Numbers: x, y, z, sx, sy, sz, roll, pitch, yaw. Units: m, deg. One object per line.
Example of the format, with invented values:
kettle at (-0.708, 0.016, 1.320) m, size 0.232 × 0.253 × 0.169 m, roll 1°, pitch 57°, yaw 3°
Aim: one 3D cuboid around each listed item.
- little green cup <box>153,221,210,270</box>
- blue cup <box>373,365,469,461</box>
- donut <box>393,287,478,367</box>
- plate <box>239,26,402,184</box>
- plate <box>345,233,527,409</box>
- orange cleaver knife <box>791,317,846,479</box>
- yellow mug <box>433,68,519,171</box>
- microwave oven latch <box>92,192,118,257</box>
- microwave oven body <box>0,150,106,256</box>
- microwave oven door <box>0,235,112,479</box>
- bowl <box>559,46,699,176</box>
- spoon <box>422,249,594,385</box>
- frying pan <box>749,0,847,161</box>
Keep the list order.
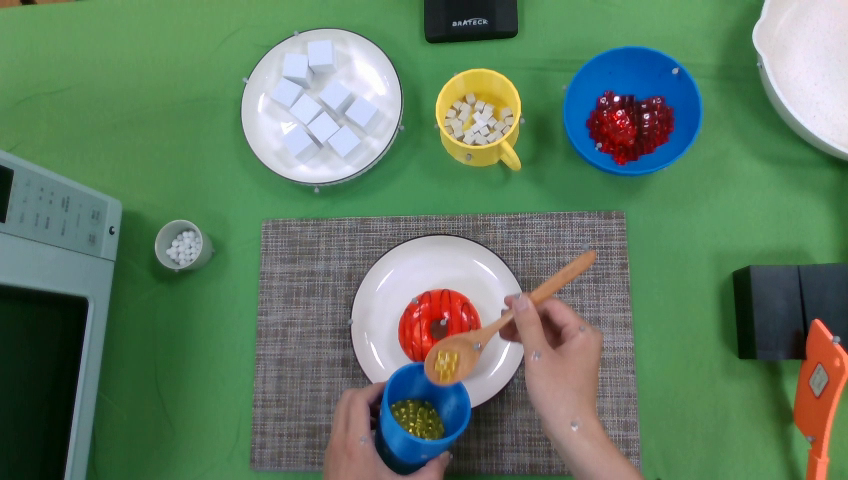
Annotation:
little green cup at (-0.300, 0.009, 0.758) m, size 0.061 × 0.039 × 0.061 m, roll -1°, pitch 81°, yaw 5°
blue cup at (-0.011, 0.174, 0.602) m, size 0.093 × 0.100 × 0.092 m, roll 5°, pitch 70°, yaw -14°
donut at (0.013, 0.103, 0.693) m, size 0.099 × 0.048 × 0.099 m, roll -1°, pitch 83°, yaw 7°
plate at (-0.128, -0.168, 0.772) m, size 0.207 × 0.039 × 0.207 m, roll -1°, pitch 80°, yaw 6°
plate at (0.014, 0.096, 0.705) m, size 0.209 × 0.038 × 0.208 m, roll -1°, pitch 80°, yaw 6°
orange cleaver knife at (0.402, 0.185, 0.629) m, size 0.012 × 0.077 × 0.212 m, roll -2°, pitch 109°, yaw 6°
yellow mug at (0.072, -0.135, 0.730) m, size 0.100 × 0.064 × 0.130 m, roll -38°, pitch 79°, yaw -1°
microwave oven latch at (-0.405, -0.020, 0.756) m, size 0.030 × 0.029 × 0.079 m, roll 5°, pitch 81°, yaw 7°
microwave oven body at (-0.572, 0.132, 0.649) m, size 0.326 × 0.261 × 0.440 m, roll 2°, pitch 81°, yaw 6°
microwave oven door at (-0.430, 0.178, 0.620) m, size 0.039 × 0.245 × 0.354 m, roll 2°, pitch 80°, yaw 7°
bowl at (0.230, -0.139, 0.707) m, size 0.151 × 0.077 × 0.151 m, roll -1°, pitch 80°, yaw 6°
spoon at (0.075, 0.070, 0.548) m, size 0.194 × 0.022 × 0.041 m, roll -40°, pitch 75°, yaw 19°
frying pan at (0.509, -0.118, 0.659) m, size 0.306 × 0.103 × 0.485 m, roll 4°, pitch 72°, yaw 8°
